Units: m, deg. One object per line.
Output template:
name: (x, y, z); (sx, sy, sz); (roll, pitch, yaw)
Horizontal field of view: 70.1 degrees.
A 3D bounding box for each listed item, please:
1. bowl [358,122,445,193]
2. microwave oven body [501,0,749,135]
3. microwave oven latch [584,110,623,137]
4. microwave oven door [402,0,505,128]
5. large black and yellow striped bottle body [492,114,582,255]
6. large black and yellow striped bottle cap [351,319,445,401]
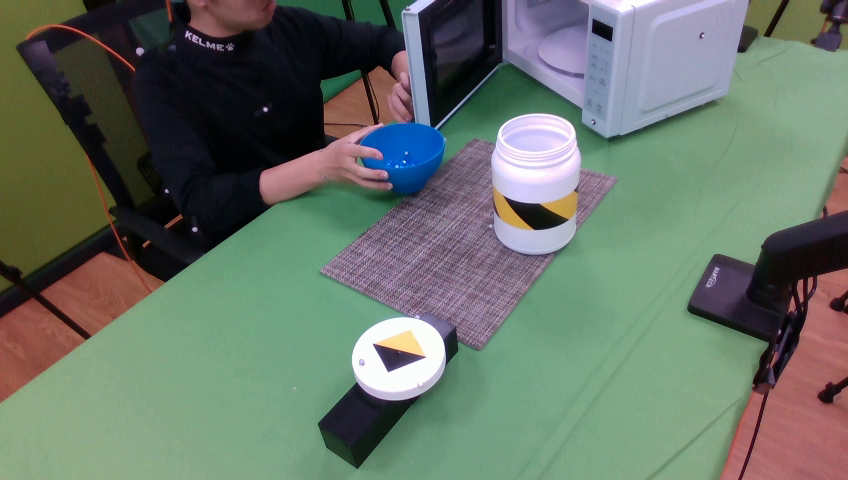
bowl: (-0.036, -0.135, 1.056); (0.151, 0.077, 0.150); (-3, 40, 3)
microwave oven body: (0.382, -0.444, 1.246); (0.327, 0.261, 0.437); (-22, 42, -16)
microwave oven latch: (0.337, -0.222, 1.142); (0.030, 0.029, 0.078); (-21, 42, -14)
microwave oven door: (0.073, -0.411, 1.243); (0.039, 0.245, 0.356); (17, 46, 26)
large black and yellow striped bottle body: (0.169, -0.083, 0.912); (0.131, 0.185, 0.130); (-4, 41, 4)
large black and yellow striped bottle cap: (-0.031, 0.143, 0.735); (0.115, 0.019, 0.114); (-3, 40, 3)
